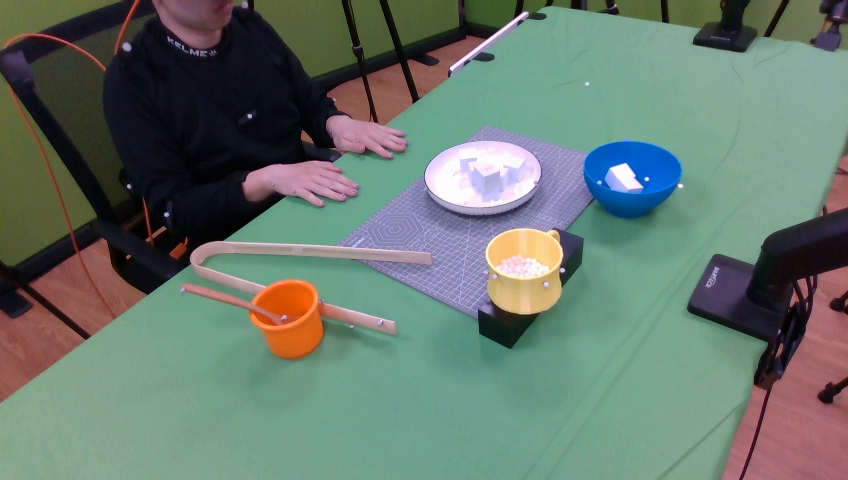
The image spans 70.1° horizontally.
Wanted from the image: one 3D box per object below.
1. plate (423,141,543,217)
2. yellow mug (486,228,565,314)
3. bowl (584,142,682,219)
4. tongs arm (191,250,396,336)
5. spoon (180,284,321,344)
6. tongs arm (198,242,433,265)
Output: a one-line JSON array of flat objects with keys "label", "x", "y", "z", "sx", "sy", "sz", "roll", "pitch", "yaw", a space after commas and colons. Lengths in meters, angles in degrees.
[{"label": "plate", "x": 0.103, "y": -0.103, "z": 1.059, "sx": 0.207, "sy": 0.039, "sz": 0.206, "roll": -4, "pitch": 40, "yaw": 4}, {"label": "yellow mug", "x": 0.142, "y": 0.031, "z": 0.801, "sx": 0.099, "sy": 0.064, "sz": 0.131, "roll": 28, "pitch": 51, "yaw": 34}, {"label": "bowl", "x": 0.333, "y": -0.087, "z": 0.980, "sx": 0.151, "sy": 0.077, "sz": 0.150, "roll": -4, "pitch": 40, "yaw": 4}, {"label": "tongs arm", "x": -0.204, "y": 0.074, "z": 0.902, "sx": 0.382, "sy": 0.026, "sz": 0.051, "roll": 11, "pitch": 45, "yaw": 22}, {"label": "spoon", "x": -0.223, "y": 0.094, "z": 0.794, "sx": 0.021, "sy": 0.195, "sz": 0.041, "roll": -43, "pitch": 33, "yaw": 28}, {"label": "tongs arm", "x": -0.176, "y": 0.024, "z": 0.960, "sx": 0.386, "sy": 0.028, "sz": 0.028, "roll": 2, "pitch": 45, "yaw": 12}]
